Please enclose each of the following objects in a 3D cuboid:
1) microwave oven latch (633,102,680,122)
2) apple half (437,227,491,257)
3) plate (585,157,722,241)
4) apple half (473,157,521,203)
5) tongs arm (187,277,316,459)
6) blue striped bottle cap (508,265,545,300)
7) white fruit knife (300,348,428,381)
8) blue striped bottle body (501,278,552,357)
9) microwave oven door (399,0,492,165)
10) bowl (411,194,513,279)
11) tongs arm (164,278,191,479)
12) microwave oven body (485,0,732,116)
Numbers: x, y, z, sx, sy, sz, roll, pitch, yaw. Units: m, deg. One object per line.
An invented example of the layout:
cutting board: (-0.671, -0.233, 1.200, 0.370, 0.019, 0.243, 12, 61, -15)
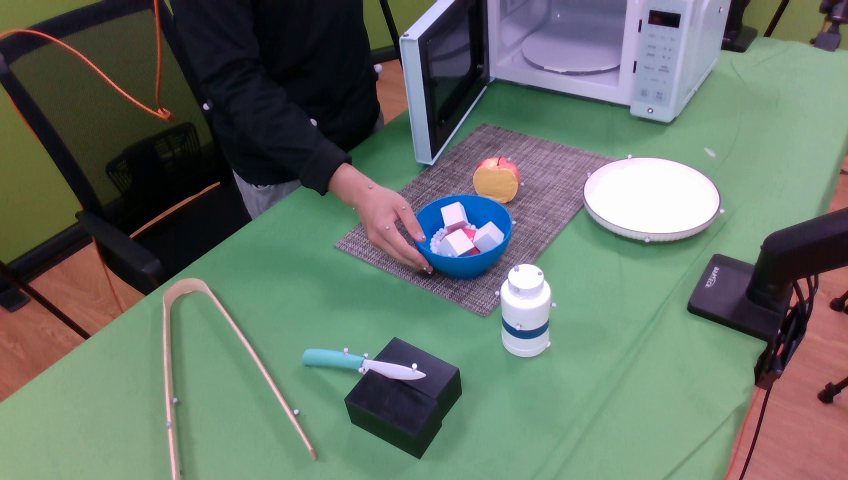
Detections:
microwave oven latch: (0.444, -0.249, 1.157, 0.078, 0.029, 0.030, 21, 49, 30)
apple half: (0.056, 0.001, 0.901, 0.081, 0.033, 0.081, -3, 42, 3)
plate: (0.367, -0.063, 0.979, 0.207, 0.039, 0.206, -4, 40, 4)
apple half: (0.127, -0.106, 1.030, 0.080, 0.075, 0.053, 4, 38, 19)
tongs arm: (-0.241, 0.154, 0.815, 0.028, 0.028, 0.384, -31, 46, -21)
blue striped bottle cap: (0.125, 0.051, 0.735, 0.044, 0.021, 0.044, -6, 38, 5)
white fruit knife: (-0.079, 0.154, 0.748, 0.206, 0.027, 0.016, 0, 20, 34)
blue striped bottle body: (0.130, 0.088, 0.769, 0.063, 0.121, 0.063, -4, 41, 4)
microwave oven door: (0.054, -0.344, 1.167, 0.039, 0.245, 0.356, 11, 44, 21)
bowl: (0.058, 0.006, 0.904, 0.151, 0.077, 0.150, -4, 40, 4)
tongs arm: (-0.313, 0.182, 0.789, 0.051, 0.026, 0.381, -19, 41, -14)
microwave oven body: (0.377, -0.462, 1.267, 0.438, 0.261, 0.327, 21, 48, 30)
